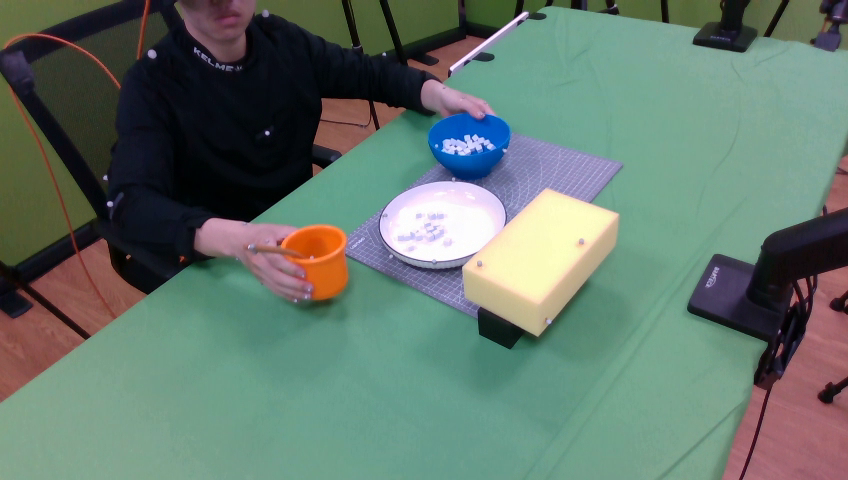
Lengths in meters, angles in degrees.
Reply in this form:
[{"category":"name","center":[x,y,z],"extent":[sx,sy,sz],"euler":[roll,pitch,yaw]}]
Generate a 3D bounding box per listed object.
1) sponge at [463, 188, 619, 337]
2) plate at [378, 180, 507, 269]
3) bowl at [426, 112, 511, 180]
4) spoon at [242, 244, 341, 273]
[{"category":"sponge","center":[0.160,0.022,0.814],"extent":[0.117,0.061,0.207],"euler":[24,50,32]},{"category":"plate","center":[0.031,-0.022,0.974],"extent":[0.209,0.038,0.208],"euler":[-4,40,4]},{"category":"bowl","center":[0.084,-0.161,1.098],"extent":[0.151,0.077,0.150],"euler":[-4,40,4]},{"category":"spoon","center":[-0.175,0.023,0.812],"extent":[0.041,0.195,0.021],"euler":[11,82,29]}]
